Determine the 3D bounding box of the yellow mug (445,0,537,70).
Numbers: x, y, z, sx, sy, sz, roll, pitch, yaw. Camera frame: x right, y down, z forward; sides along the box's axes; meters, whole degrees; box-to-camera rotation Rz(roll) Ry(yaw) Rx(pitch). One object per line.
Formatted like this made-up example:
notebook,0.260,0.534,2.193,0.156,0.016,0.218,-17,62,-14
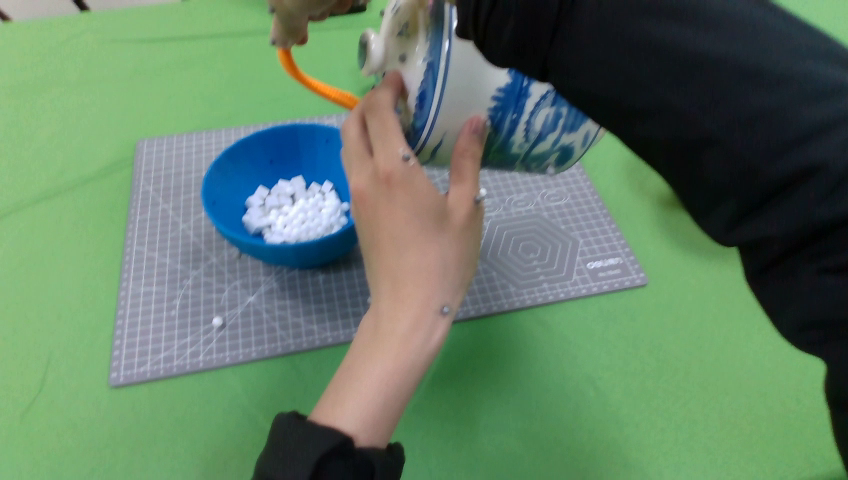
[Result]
yellow mug,0.068,-0.235,0.657,0.099,0.064,0.130,17,54,14

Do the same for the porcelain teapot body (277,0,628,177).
porcelain teapot body,0.006,-0.106,0.446,0.226,0.206,0.143,1,56,-21

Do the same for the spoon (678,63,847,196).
spoon,0.322,-0.105,0.557,0.022,0.194,0.041,25,34,-40

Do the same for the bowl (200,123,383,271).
bowl,-0.108,-0.026,0.532,0.151,0.077,0.150,0,49,0

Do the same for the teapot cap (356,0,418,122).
teapot cap,-0.023,-0.124,0.410,0.044,0.086,0.084,-2,49,-18
